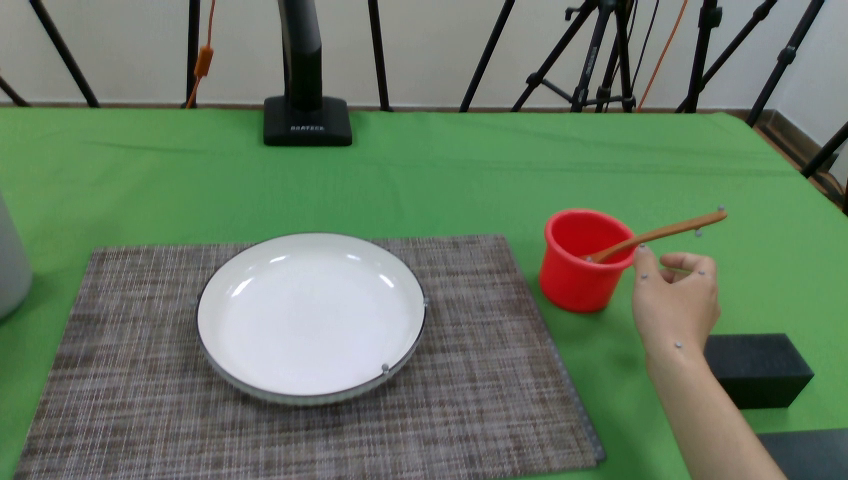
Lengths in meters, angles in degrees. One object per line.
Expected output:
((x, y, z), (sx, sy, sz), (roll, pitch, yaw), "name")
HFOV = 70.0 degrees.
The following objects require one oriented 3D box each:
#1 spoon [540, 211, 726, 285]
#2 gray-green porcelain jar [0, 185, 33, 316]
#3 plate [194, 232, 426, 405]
((0.209, 0.008, 0.624), (0.193, 0.022, 0.041), (-26, 27, 31), "spoon")
((-0.414, 0.007, 0.528), (0.106, 0.127, 0.105), (5, 40, -4), "gray-green porcelain jar")
((-0.104, 0.072, 0.570), (0.208, 0.039, 0.205), (5, 40, -4), "plate")
